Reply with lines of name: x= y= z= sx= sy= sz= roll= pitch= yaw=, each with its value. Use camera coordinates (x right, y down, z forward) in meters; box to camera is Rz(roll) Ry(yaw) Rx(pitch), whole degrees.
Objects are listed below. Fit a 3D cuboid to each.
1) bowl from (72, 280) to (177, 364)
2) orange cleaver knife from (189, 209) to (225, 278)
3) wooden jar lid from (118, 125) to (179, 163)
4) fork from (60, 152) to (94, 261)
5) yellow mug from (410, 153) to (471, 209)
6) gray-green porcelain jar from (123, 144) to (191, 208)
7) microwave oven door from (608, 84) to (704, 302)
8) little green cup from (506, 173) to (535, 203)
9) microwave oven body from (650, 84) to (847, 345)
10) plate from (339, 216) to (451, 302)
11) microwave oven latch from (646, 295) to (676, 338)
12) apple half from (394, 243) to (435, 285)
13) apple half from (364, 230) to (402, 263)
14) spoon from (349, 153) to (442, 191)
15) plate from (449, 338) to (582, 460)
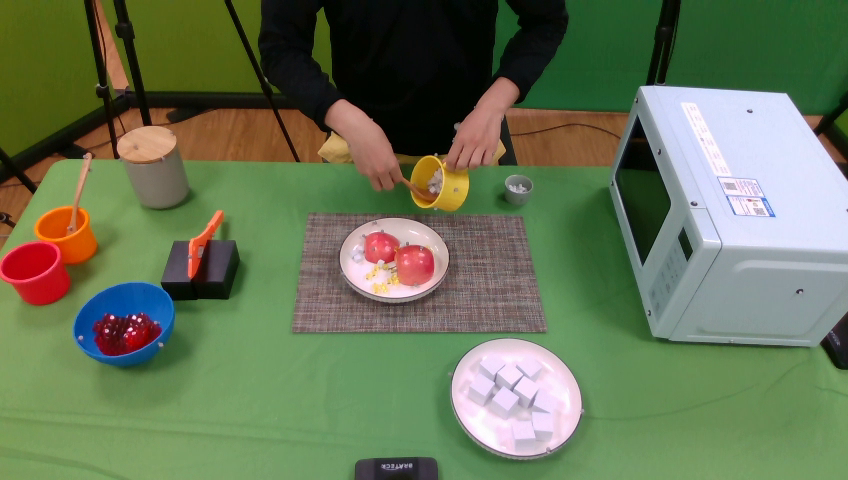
bowl: x=-0.472 y=0.147 z=0.982 sx=0.151 sy=0.077 sz=0.150 roll=2 pitch=46 yaw=-2
orange cleaver knife: x=-0.400 y=0.002 z=1.122 sx=0.012 sy=0.077 sz=0.210 roll=4 pitch=23 yaw=-4
wooden jar lid: x=-0.528 y=-0.181 z=1.167 sx=0.108 sy=0.021 sz=0.107 roll=4 pitch=48 yaw=-4
fork: x=-0.638 y=-0.063 z=1.119 sx=0.028 sy=0.018 sz=0.207 roll=12 pitch=90 yaw=9
yellow mug: x=0.037 y=-0.120 z=1.140 sx=0.064 sy=0.131 sz=0.099 roll=4 pitch=53 yaw=-41
gray-green porcelain jar: x=-0.530 y=-0.137 z=1.213 sx=0.106 sy=0.127 sz=0.105 roll=2 pitch=46 yaw=-2
microwave oven door: x=0.424 y=-0.096 z=1.138 sx=0.039 sy=0.245 sz=0.353 roll=2 pitch=47 yaw=-1
little green cup: x=0.205 y=-0.111 z=1.302 sx=0.061 sy=0.039 sz=0.061 roll=1 pitch=45 yaw=-1
microwave oven body: x=0.569 y=-0.054 z=1.116 sx=0.326 sy=0.261 sz=0.439 roll=2 pitch=46 yaw=-1
plate: x=-0.054 y=0.038 z=1.137 sx=0.209 sy=0.038 sz=0.208 roll=2 pitch=46 yaw=-2
microwave oven latch: x=0.413 y=0.133 z=1.060 sx=0.030 sy=0.029 sz=0.078 roll=4 pitch=46 yaw=1
apple half: x=-0.017 y=0.037 z=1.121 sx=0.075 sy=0.053 sz=0.080 roll=1 pitch=45 yaw=-6
apple half: x=-0.079 y=0.004 z=1.160 sx=0.081 sy=0.033 sz=0.081 roll=2 pitch=50 yaw=-3
spoon: x=-0.051 y=-0.128 z=1.131 sx=0.194 sy=0.021 sz=0.041 roll=22 pitch=17 yaw=-26
plate: x=0.141 y=0.251 z=0.956 sx=0.208 sy=0.039 sz=0.206 roll=2 pitch=47 yaw=-2
